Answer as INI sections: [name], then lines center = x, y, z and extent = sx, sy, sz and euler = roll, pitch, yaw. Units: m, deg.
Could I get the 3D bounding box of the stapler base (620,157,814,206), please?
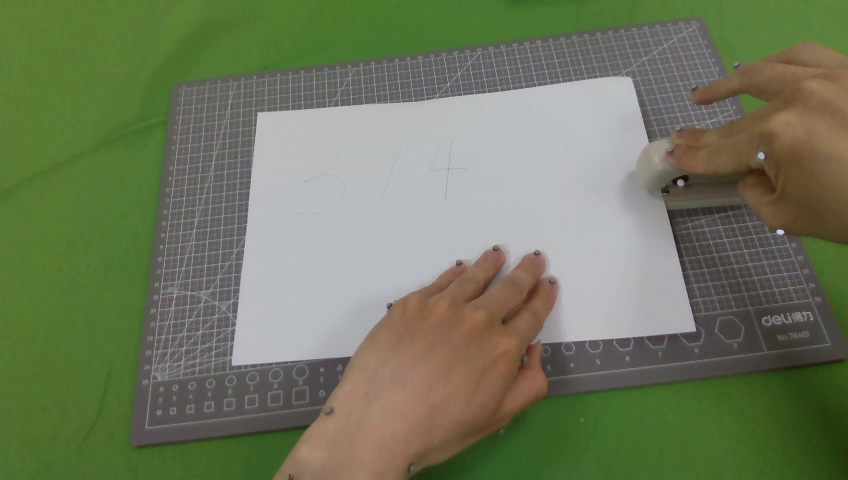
[stapler base]
center = 0.206, -0.049, 0.423
extent = 0.130, 0.024, 0.041
euler = -3, 62, -1

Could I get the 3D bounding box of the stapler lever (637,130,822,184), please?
[stapler lever]
center = 0.206, -0.058, 0.411
extent = 0.118, 0.040, 0.026
euler = -9, 61, 9
